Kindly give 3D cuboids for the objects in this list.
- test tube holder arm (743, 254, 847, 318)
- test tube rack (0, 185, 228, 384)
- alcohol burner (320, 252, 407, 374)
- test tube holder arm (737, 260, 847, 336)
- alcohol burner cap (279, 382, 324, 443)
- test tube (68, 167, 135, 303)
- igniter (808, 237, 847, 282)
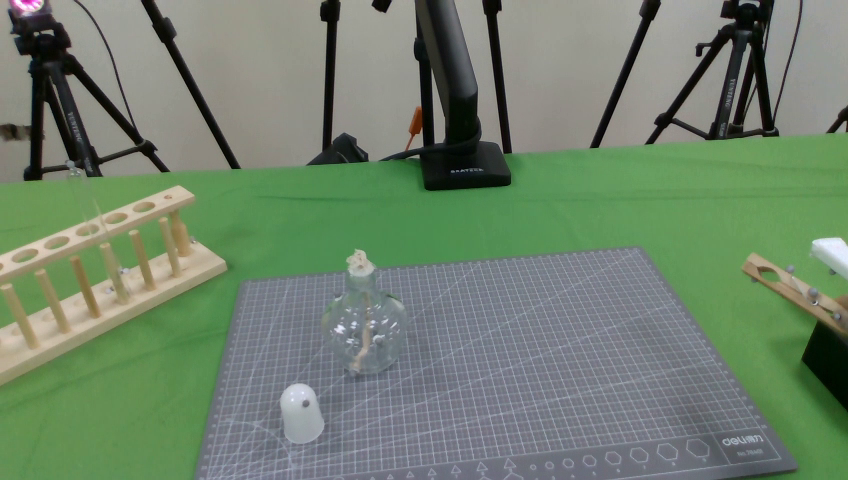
[{"bbox_3d":[0.299,0.058,0.416,0.015,0.013,0.176,22,14,-41],"label":"test tube holder arm"},{"bbox_3d":[-0.327,0.036,0.600,0.066,0.086,0.242,27,43,35],"label":"test tube rack"},{"bbox_3d":[-0.053,0.058,0.526,0.078,0.120,0.077,0,36,0],"label":"alcohol burner"},{"bbox_3d":[0.274,0.041,0.450,0.015,0.010,0.087,22,15,-41],"label":"test tube holder arm"},{"bbox_3d":[-0.098,0.133,0.481,0.034,0.048,0.033,0,34,0],"label":"alcohol burner cap"},{"bbox_3d":[-0.303,-0.001,0.573,0.017,0.151,0.017,-1,35,1],"label":"test tube"},{"bbox_3d":[0.411,0.073,0.485,0.057,0.025,0.274,-6,31,-4],"label":"igniter"}]
